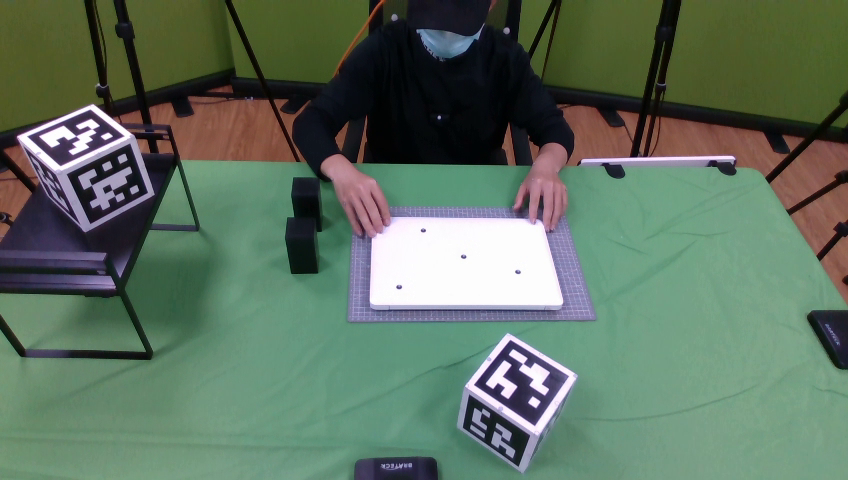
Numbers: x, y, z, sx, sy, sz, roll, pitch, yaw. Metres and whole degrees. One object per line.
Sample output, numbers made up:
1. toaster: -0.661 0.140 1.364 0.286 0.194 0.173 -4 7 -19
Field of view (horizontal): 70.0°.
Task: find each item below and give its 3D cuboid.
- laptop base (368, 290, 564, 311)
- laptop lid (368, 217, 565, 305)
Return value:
1. laptop base: 0.074 0.044 1.160 0.354 0.023 0.234 0 43 -3
2. laptop lid: 0.075 0.034 1.152 0.357 0.013 0.240 2 44 -2
